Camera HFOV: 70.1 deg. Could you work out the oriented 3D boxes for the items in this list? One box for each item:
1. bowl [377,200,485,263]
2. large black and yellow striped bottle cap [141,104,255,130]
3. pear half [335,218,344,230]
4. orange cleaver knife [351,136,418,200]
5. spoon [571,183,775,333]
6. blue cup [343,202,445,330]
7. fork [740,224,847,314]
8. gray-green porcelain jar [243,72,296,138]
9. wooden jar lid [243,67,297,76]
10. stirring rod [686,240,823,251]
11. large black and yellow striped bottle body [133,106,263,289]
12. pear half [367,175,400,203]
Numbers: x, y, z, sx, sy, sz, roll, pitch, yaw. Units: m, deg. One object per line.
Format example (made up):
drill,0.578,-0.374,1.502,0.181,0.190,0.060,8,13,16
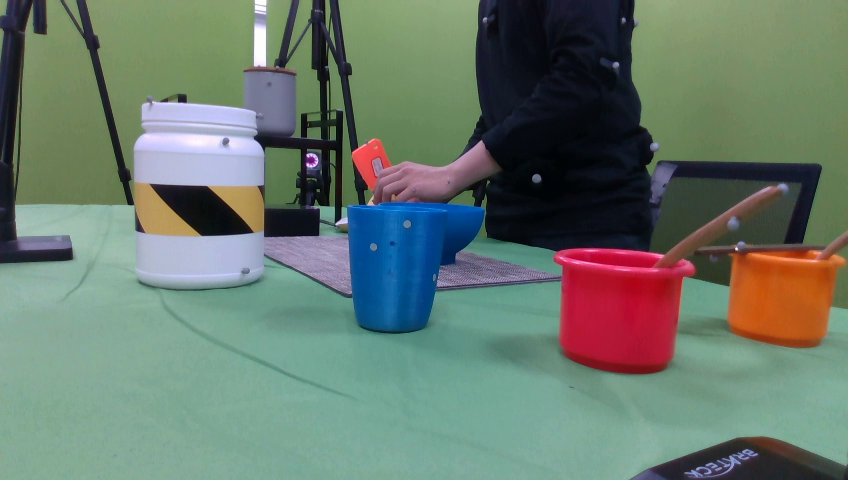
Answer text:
bowl,0.008,-0.012,0.842,0.151,0.077,0.151,3,8,0
large black and yellow striped bottle cap,-0.241,-0.131,0.650,0.115,0.019,0.115,4,8,0
pear half,-0.138,-0.035,1.177,0.071,0.031,0.087,-17,1,-24
orange cleaver knife,-0.068,-0.111,1.179,0.012,0.212,0.077,14,59,49
spoon,0.160,0.020,0.413,0.042,0.021,0.193,0,-36,-24
blue cup,-0.027,0.021,0.510,0.093,0.100,0.092,3,5,0
fork,0.323,0.013,0.485,0.028,0.018,0.207,9,-38,-5
gray-green porcelain jar,-0.322,-0.279,1.263,0.106,0.126,0.106,3,8,0
wooden jar lid,-0.319,-0.342,1.254,0.108,0.020,0.108,3,8,0
stirring rod,0.289,0.005,0.525,0.177,0.006,0.014,-1,7,-26
large black and yellow striped bottle body,-0.243,-0.048,0.659,0.131,0.184,0.130,2,7,0
pear half,-0.064,-0.061,1.077,0.055,0.110,0.077,9,14,36
